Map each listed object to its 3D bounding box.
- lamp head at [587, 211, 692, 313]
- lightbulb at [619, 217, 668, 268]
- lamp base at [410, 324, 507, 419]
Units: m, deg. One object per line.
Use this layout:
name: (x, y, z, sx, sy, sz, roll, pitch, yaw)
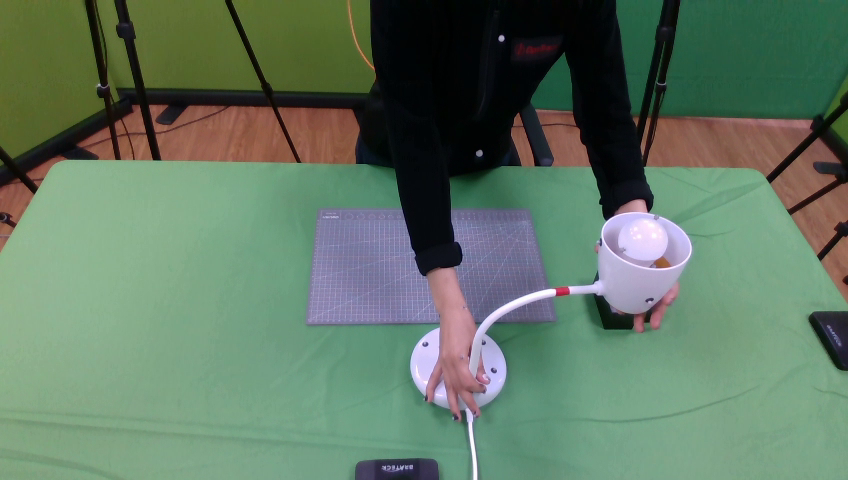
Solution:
lamp head: (0.279, 0.041, 0.809, 0.112, 0.123, 0.111, 4, 41, -3)
lightbulb: (0.284, 0.019, 0.797, 0.059, 0.108, 0.059, -2, 37, 2)
lamp base: (0.064, 0.163, 0.938, 0.161, 0.181, 0.178, -10, 50, -13)
